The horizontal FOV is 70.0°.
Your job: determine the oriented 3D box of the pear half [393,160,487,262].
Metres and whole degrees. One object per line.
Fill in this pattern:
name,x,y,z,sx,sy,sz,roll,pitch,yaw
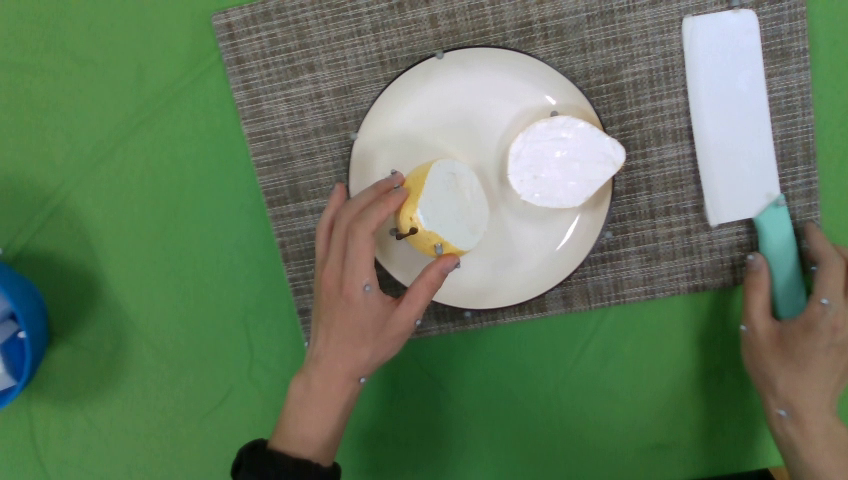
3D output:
pear half,0.000,-0.015,0.453,0.056,0.110,0.076,-23,93,33

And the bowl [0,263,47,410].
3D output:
bowl,-0.390,0.072,0.527,0.151,0.076,0.152,1,104,4

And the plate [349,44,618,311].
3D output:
plate,0.046,-0.047,0.486,0.207,0.039,0.208,1,104,4

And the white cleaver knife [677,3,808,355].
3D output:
white cleaver knife,0.256,-0.041,0.487,0.066,0.021,0.287,-13,99,15

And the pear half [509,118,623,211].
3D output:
pear half,0.111,-0.060,0.473,0.087,0.031,0.070,-2,103,23
